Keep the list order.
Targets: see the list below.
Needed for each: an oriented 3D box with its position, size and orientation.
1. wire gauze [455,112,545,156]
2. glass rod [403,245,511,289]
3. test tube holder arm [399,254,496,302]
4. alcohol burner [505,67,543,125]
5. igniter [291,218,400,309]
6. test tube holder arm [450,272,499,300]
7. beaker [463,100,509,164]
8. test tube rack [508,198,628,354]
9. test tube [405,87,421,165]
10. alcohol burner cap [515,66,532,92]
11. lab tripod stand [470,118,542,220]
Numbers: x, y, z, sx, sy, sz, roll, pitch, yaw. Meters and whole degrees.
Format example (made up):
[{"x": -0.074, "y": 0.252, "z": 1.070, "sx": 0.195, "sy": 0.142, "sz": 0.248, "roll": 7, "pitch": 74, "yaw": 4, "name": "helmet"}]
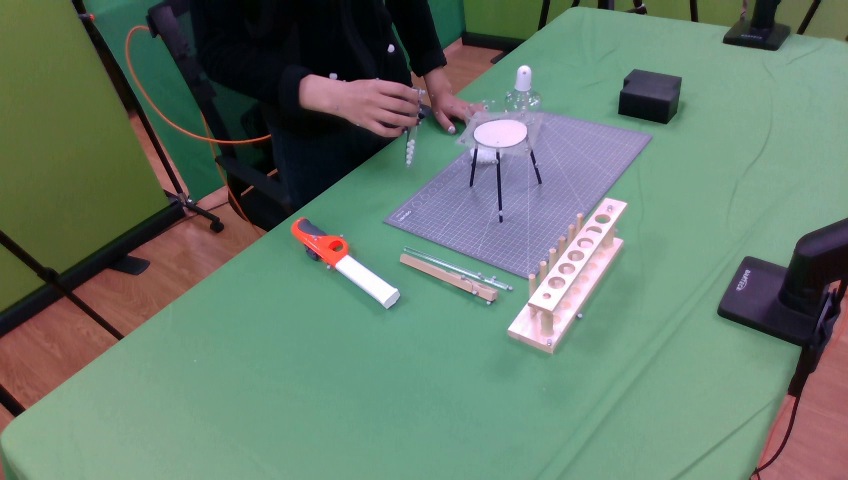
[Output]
[{"x": 0.123, "y": -0.176, "z": 0.972, "sx": 0.124, "sy": 0.011, "sz": 0.121, "roll": 9, "pitch": 42, "yaw": 20, "name": "wire gauze"}, {"x": 0.047, "y": 0.040, "z": 0.939, "sx": 0.198, "sy": 0.008, "sz": 0.008, "roll": 21, "pitch": 49, "yaw": 30, "name": "glass rod"}, {"x": 0.032, "y": 0.054, "z": 0.914, "sx": 0.177, "sy": 0.015, "sz": 0.013, "roll": 21, "pitch": 16, "yaw": 32, "name": "test tube holder arm"}, {"x": 0.201, "y": -0.293, "z": 1.216, "sx": 0.078, "sy": 0.119, "sz": 0.077, "roll": -4, "pitch": 41, "yaw": 4, "name": "alcohol burner"}, {"x": -0.136, "y": 0.031, "z": 0.970, "sx": 0.057, "sy": 0.025, "sz": 0.274, "roll": -41, "pitch": 49, "yaw": -19, "name": "igniter"}, {"x": 0.071, "y": 0.068, "z": 0.895, "sx": 0.087, "sy": 0.015, "sz": 0.010, "roll": 21, "pitch": 16, "yaw": 32, "name": "test tube holder arm"}, {"x": 0.120, "y": -0.200, "z": 1.133, "sx": 0.083, "sy": 0.101, "sz": 0.074, "roll": 5, "pitch": 43, "yaw": 16, "name": "beaker"}, {"x": 0.206, "y": 0.039, "z": 0.850, "sx": 0.066, "sy": 0.085, "sz": 0.243, "roll": 20, "pitch": 48, "yaw": 31, "name": "test tube rack"}, {"x": -0.019, "y": -0.187, "z": 1.009, "sx": 0.017, "sy": 0.150, "sz": 0.017, "roll": 4, "pitch": 45, "yaw": -4, "name": "test tube"}, {"x": 0.198, "y": -0.320, "z": 1.192, "sx": 0.034, "sy": 0.048, "sz": 0.033, "roll": 0, "pitch": 47, "yaw": 1, "name": "alcohol burner cap"}, {"x": 0.135, "y": -0.129, "z": 1.019, "sx": 0.148, "sy": 0.132, "sz": 0.147, "roll": -5, "pitch": 38, "yaw": 5, "name": "lab tripod stand"}]
